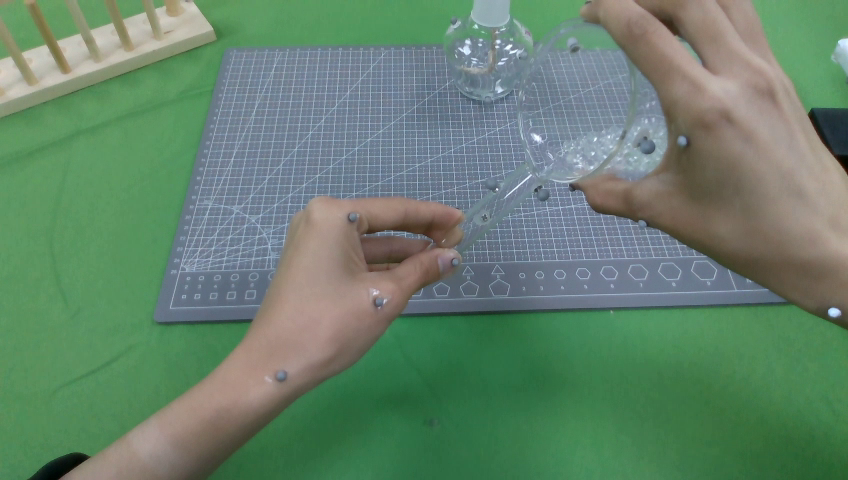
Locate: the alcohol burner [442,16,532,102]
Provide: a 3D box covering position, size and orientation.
[{"bbox_3d":[0.055,-0.177,0.510,0.078,0.120,0.077,1,54,-1],"label":"alcohol burner"}]

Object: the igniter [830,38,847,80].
[{"bbox_3d":[0.346,-0.053,0.416,0.057,0.025,0.274,0,52,5],"label":"igniter"}]

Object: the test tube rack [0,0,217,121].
[{"bbox_3d":[-0.322,-0.187,0.540,0.242,0.086,0.066,-28,58,-19],"label":"test tube rack"}]

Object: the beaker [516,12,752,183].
[{"bbox_3d":[0.107,-0.065,0.307,0.101,0.084,0.073,-4,47,-32],"label":"beaker"}]

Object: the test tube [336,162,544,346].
[{"bbox_3d":[0.004,0.012,0.332,0.150,0.017,0.017,-42,54,19],"label":"test tube"}]

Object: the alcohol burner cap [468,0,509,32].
[{"bbox_3d":[0.054,-0.196,0.486,0.034,0.048,0.033,2,52,-2],"label":"alcohol burner cap"}]
